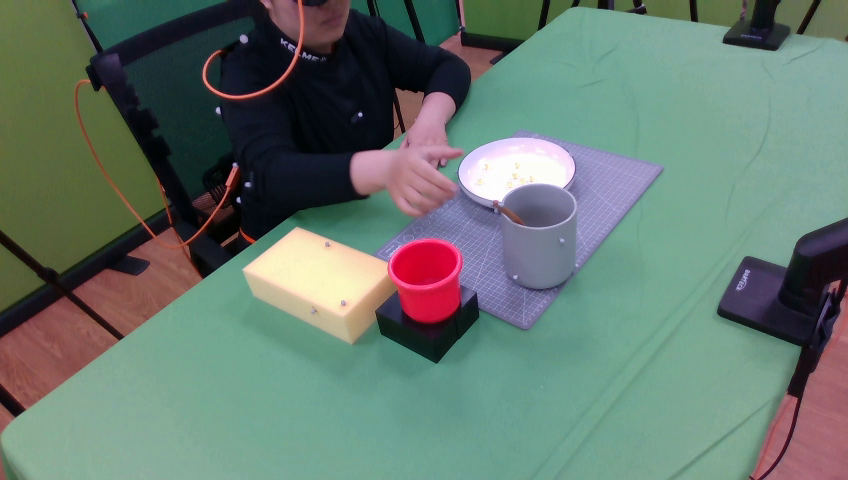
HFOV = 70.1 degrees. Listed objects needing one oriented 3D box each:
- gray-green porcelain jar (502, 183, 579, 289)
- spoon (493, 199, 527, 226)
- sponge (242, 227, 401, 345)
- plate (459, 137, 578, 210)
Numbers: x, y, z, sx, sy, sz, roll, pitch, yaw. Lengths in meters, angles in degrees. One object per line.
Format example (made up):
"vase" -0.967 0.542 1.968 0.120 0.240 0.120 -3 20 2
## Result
"gray-green porcelain jar" 0.167 -0.001 0.866 0.106 0.127 0.105 -5 40 5
"spoon" 0.135 -0.016 0.831 0.021 0.195 0.041 -49 53 -1
"sponge" -0.154 0.063 0.907 0.205 0.061 0.118 19 48 29
"plate" 0.166 -0.113 1.068 0.207 0.039 0.206 -5 40 5
